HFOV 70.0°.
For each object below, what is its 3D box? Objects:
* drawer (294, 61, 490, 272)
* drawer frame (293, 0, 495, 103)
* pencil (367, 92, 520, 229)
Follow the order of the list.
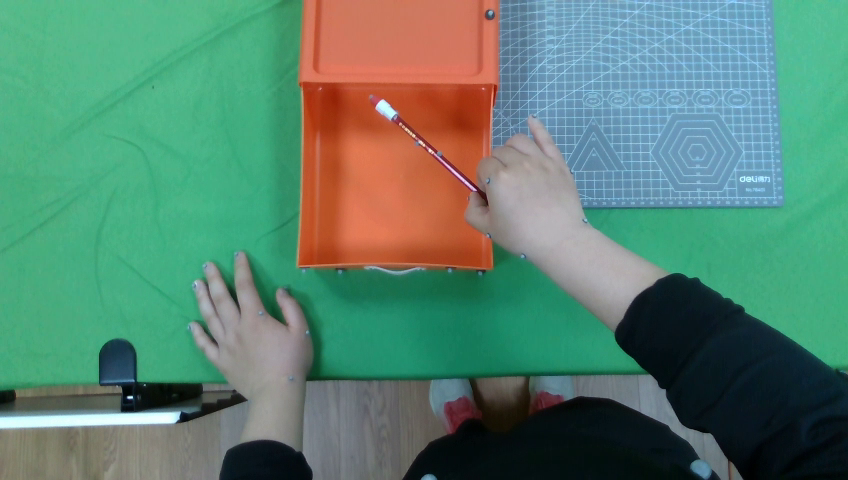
[{"bbox_3d":[-0.030,-0.073,0.627,0.194,0.073,0.211,0,87,2],"label":"drawer"},{"bbox_3d":[-0.028,-0.252,0.641,0.201,0.083,0.213,0,83,3],"label":"drawer frame"},{"bbox_3d":[0.018,-0.076,0.575,0.193,0.012,0.012,42,87,5],"label":"pencil"}]
